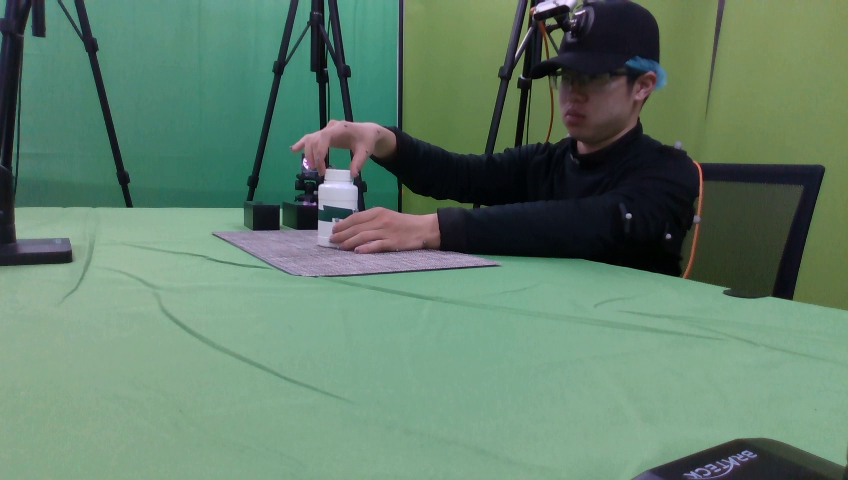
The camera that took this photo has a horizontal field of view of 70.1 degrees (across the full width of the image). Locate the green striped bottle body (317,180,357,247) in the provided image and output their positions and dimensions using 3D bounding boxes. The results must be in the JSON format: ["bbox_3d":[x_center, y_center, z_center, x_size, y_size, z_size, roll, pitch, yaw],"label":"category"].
[{"bbox_3d":[-0.138,-0.051,0.964,0.063,0.119,0.063,2,7,0],"label":"green striped bottle body"}]

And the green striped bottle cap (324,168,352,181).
[{"bbox_3d":[-0.136,-0.104,0.958,0.044,0.020,0.044,4,9,0],"label":"green striped bottle cap"}]
